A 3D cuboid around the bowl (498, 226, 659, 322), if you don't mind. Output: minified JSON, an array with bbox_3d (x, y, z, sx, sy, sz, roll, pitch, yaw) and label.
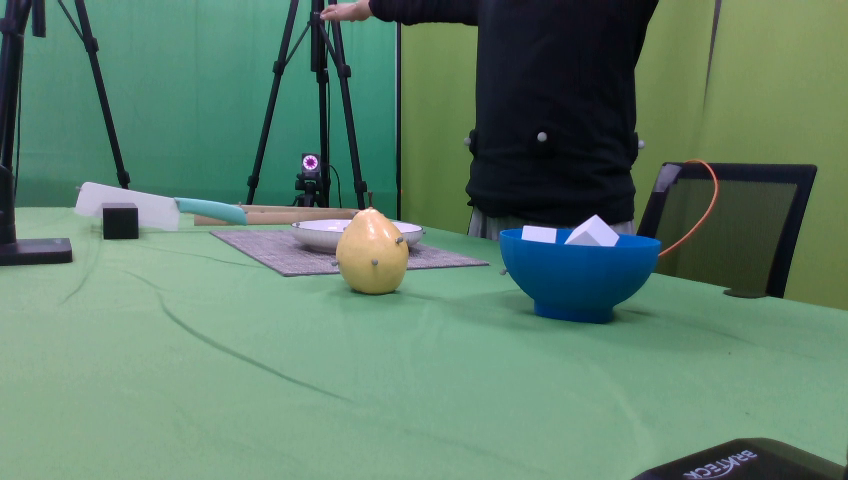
[{"bbox_3d":[0.145,0.032,0.584,0.151,0.077,0.151,2,7,0],"label":"bowl"}]

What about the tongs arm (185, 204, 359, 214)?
[{"bbox_3d":[-0.337,-0.065,1.376,0.387,0.026,0.050,0,9,-25],"label":"tongs arm"}]

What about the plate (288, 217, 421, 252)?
[{"bbox_3d":[-0.109,-0.008,0.956,0.208,0.039,0.207,2,8,0],"label":"plate"}]

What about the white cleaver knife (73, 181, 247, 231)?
[{"bbox_3d":[-0.465,-0.052,1.090,0.288,0.066,0.021,9,7,-30],"label":"white cleaver knife"}]

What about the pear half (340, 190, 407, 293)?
[{"bbox_3d":[-0.047,0.002,0.641,0.055,0.110,0.076,6,19,32],"label":"pear half"}]

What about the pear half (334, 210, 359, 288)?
[{"bbox_3d":[-0.076,0.008,0.663,0.031,0.088,0.071,7,18,33],"label":"pear half"}]

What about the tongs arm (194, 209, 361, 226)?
[{"bbox_3d":[-0.298,-0.050,1.307,0.390,0.028,0.028,-3,7,-37],"label":"tongs arm"}]
